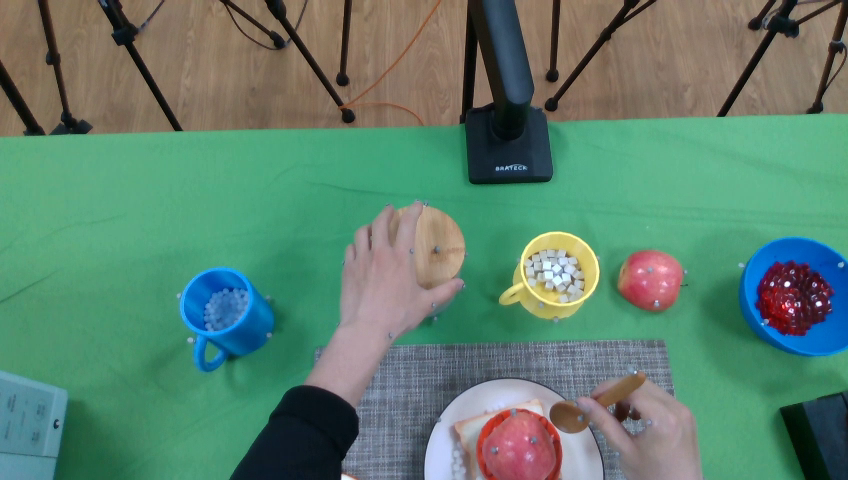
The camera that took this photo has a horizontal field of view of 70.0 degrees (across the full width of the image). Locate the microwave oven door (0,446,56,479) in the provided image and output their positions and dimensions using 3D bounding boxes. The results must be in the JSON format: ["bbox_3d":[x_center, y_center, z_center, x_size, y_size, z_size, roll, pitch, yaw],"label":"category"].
[{"bbox_3d":[-0.441,0.366,0.534,0.039,0.245,0.353,-1,68,0],"label":"microwave oven door"}]

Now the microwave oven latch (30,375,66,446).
[{"bbox_3d":[-0.445,0.199,0.708,0.030,0.030,0.078,4,69,1],"label":"microwave oven latch"}]

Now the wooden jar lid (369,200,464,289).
[{"bbox_3d":[-0.009,0.007,0.694,0.108,0.021,0.107,0,67,0],"label":"wooden jar lid"}]

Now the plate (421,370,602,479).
[{"bbox_3d":[0.099,0.258,0.708,0.208,0.039,0.206,0,69,0],"label":"plate"}]

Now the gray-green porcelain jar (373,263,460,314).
[{"bbox_3d":[-0.009,0.030,0.751,0.106,0.127,0.105,0,68,0],"label":"gray-green porcelain jar"}]

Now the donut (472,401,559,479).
[{"bbox_3d":[0.104,0.233,0.687,0.099,0.048,0.098,0,69,0],"label":"donut"}]

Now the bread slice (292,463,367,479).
[{"bbox_3d":[-0.117,0.324,0.691,0.105,0.019,0.130,6,70,1],"label":"bread slice"}]

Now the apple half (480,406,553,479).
[{"bbox_3d":[0.102,0.221,0.653,0.081,0.033,0.081,-3,70,7],"label":"apple half"}]

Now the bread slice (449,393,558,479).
[{"bbox_3d":[0.103,0.258,0.710,0.107,0.018,0.133,-19,71,-6],"label":"bread slice"}]

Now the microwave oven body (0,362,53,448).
[{"bbox_3d":[-0.588,0.331,0.552,0.326,0.262,0.438,-1,69,-1],"label":"microwave oven body"}]

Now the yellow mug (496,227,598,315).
[{"bbox_3d":[0.152,0.047,0.779,0.131,0.064,0.099,-24,71,-9],"label":"yellow mug"}]

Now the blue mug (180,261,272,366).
[{"bbox_3d":[-0.244,0.096,0.734,0.082,0.106,0.116,18,70,7],"label":"blue mug"}]

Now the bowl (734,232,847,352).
[{"bbox_3d":[0.457,0.074,0.765,0.151,0.077,0.150,0,69,0],"label":"bowl"}]

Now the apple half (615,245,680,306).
[{"bbox_3d":[0.295,0.041,0.790,0.074,0.054,0.080,19,70,10],"label":"apple half"}]

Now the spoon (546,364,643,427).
[{"bbox_3d":[0.163,0.153,0.585,0.041,0.195,0.021,37,65,9],"label":"spoon"}]
